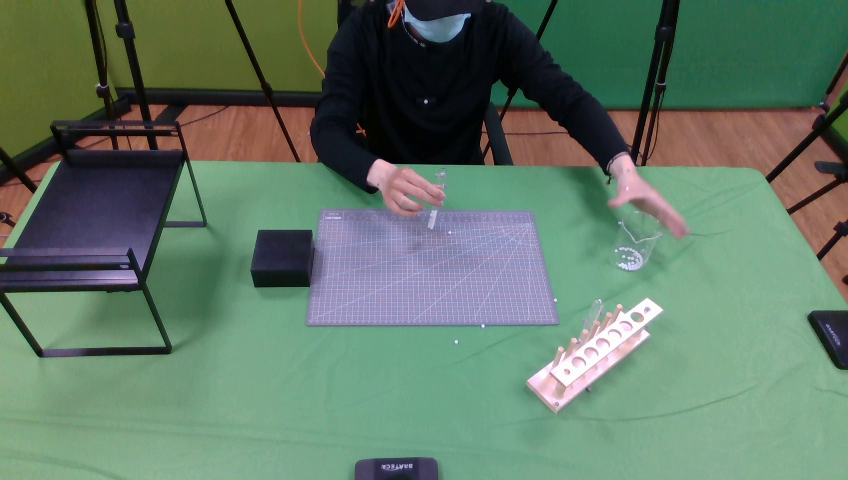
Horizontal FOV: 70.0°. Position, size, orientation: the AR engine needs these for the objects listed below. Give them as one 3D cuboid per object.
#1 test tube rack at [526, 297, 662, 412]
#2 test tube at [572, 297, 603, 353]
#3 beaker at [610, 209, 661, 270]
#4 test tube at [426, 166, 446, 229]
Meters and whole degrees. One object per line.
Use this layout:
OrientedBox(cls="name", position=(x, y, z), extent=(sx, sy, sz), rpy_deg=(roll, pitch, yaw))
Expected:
OrientedBox(cls="test tube rack", position=(0.284, 0.176, 1.007), extent=(0.242, 0.085, 0.066), rpy_deg=(-29, 54, -27))
OrientedBox(cls="test tube", position=(0.263, 0.141, 0.977), extent=(0.017, 0.151, 0.017), rpy_deg=(2, 47, -2))
OrientedBox(cls="beaker", position=(0.404, 0.005, 1.170), extent=(0.074, 0.101, 0.083), rpy_deg=(19, 49, 15))
OrientedBox(cls="test tube", position=(0.022, -0.076, 1.138), extent=(0.017, 0.151, 0.017), rpy_deg=(6, 45, -6))
